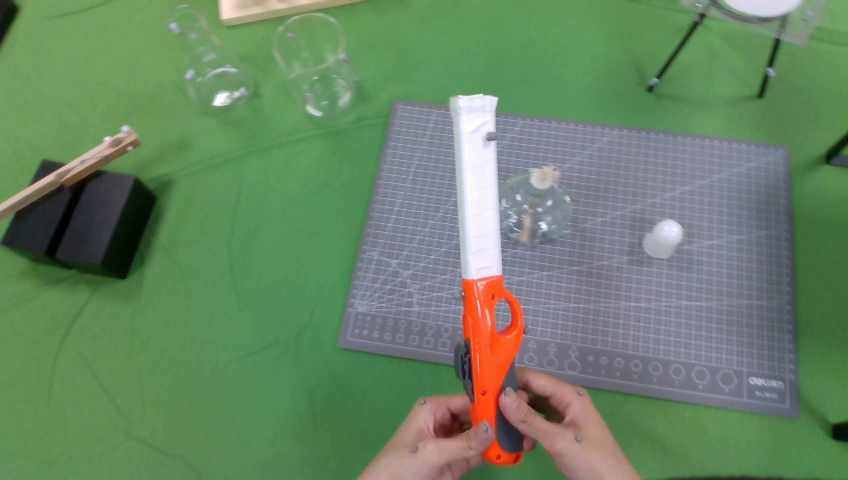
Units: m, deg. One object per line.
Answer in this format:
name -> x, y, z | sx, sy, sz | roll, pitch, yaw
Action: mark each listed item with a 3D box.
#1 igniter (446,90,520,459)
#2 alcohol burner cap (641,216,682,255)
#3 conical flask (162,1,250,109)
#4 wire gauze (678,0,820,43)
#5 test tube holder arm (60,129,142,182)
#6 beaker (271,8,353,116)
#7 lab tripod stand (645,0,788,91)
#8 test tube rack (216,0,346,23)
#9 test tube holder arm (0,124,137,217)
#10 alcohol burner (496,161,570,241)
igniter -> 0.043, 0.034, 0.440 | 0.057, 0.025, 0.277 | -10, 101, -23
alcohol burner cap -> 0.245, -0.008, 0.620 | 0.034, 0.048, 0.033 | -1, 69, 2
conical flask -> -0.247, -0.209, 0.674 | 0.075, 0.123, 0.075 | -1, 69, 2
wire gauze -> 0.329, -0.258, 0.593 | 0.121, 0.011, 0.124 | 29, 74, 10
test tube holder arm -> -0.340, -0.088, 0.636 | 0.088, 0.015, 0.010 | -33, 71, -11
beaker -> -0.122, -0.191, 0.675 | 0.074, 0.101, 0.083 | 23, 72, 11
lab tripod stand -> 0.324, -0.233, 0.656 | 0.148, 0.132, 0.147 | 0, 68, 1
test tube rack -> -0.145, -0.342, 0.740 | 0.242, 0.086, 0.066 | -12, 69, -2
test tube holder arm -> -0.381, -0.068, 0.629 | 0.178, 0.015, 0.013 | -34, 72, -11
alcohol burner -> 0.109, -0.044, 0.601 | 0.078, 0.120, 0.077 | 0, 68, 0
